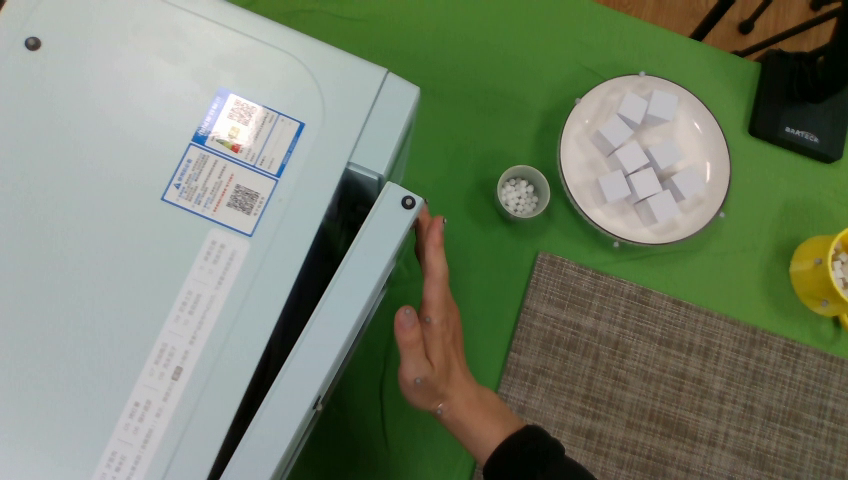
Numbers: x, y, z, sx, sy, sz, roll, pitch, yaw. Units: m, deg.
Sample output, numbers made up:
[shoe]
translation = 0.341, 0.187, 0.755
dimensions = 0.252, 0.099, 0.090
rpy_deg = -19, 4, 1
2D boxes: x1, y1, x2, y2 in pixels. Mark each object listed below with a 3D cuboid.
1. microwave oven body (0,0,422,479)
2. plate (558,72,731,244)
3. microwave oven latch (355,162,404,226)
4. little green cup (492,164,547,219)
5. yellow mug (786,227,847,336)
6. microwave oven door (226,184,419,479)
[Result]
[microwave oven body]
translation = -0.242, 0.033, 0.526
dimensions = 0.326, 0.260, 0.440
rpy_deg = 23, 79, -2
[plate]
translation = 0.257, -0.095, 0.721
dimensions = 0.208, 0.039, 0.207
rpy_deg = 1, 80, -6
[microwave oven latch]
translation = -0.049, -0.054, 0.660
dimensions = 0.030, 0.029, 0.079
rpy_deg = 25, 79, -2
[little green cup]
translation = 0.107, -0.053, 0.695
dimensions = 0.061, 0.038, 0.061
rpy_deg = 1, 82, -5
[yellow mug]
translation = 0.494, 0.051, 0.708
dimensions = 0.100, 0.064, 0.130
rpy_deg = -9, 82, -8
[microwave oven door]
translation = -0.109, 0.134, 0.519
dimensions = 0.039, 0.244, 0.355
rpy_deg = 28, 78, 0
